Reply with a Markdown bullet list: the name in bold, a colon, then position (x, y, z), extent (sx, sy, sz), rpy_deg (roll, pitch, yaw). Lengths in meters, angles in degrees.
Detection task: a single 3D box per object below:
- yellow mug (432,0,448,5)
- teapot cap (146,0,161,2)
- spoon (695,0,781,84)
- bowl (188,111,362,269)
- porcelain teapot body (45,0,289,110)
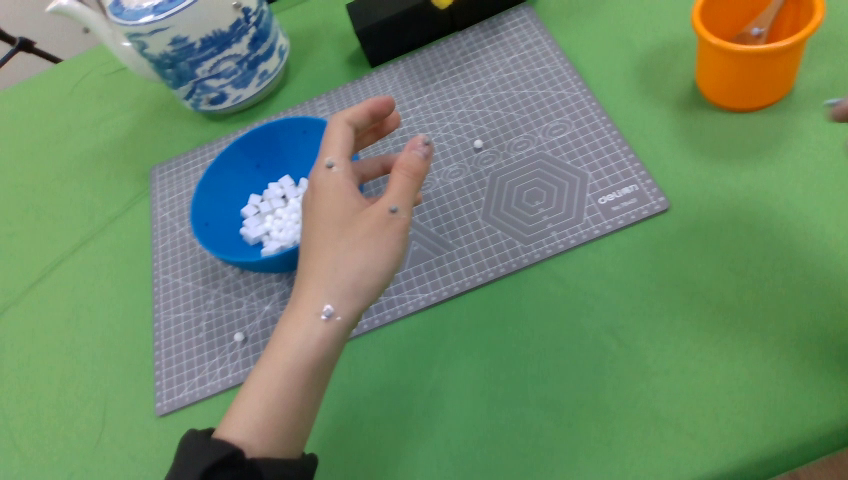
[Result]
- **yellow mug**: position (0.025, -0.287, 0.591), extent (0.099, 0.064, 0.130), rpy_deg (8, 63, 23)
- **teapot cap**: position (-0.260, -0.272, 0.593), extent (0.085, 0.044, 0.084), rpy_deg (-10, 58, 16)
- **spoon**: position (0.283, -0.199, 0.459), extent (0.022, 0.194, 0.041), rpy_deg (5, 46, -31)
- **bowl**: position (-0.115, -0.030, 0.526), extent (0.151, 0.077, 0.150), rpy_deg (-9, 56, 13)
- **porcelain teapot body**: position (-0.276, -0.244, 0.629), extent (0.205, 0.228, 0.143), rpy_deg (-18, 55, 8)
